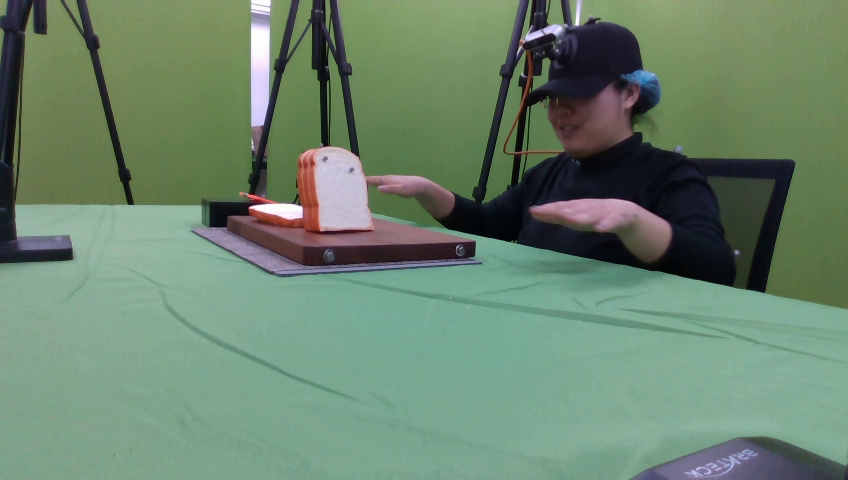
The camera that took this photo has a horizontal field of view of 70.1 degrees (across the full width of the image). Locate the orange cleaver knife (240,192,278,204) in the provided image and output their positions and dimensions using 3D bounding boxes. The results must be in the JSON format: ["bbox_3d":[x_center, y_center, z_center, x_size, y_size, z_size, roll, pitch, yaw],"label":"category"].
[{"bbox_3d":[-0.268,-0.064,1.235,0.212,0.012,0.077,17,-2,-26],"label":"orange cleaver knife"}]

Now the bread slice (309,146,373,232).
[{"bbox_3d":[-0.133,-0.077,0.927,0.018,0.134,0.107,-13,-4,43],"label":"bread slice"}]

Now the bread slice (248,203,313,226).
[{"bbox_3d":[-0.228,-0.043,1.022,0.131,0.019,0.105,13,14,38],"label":"bread slice"}]
